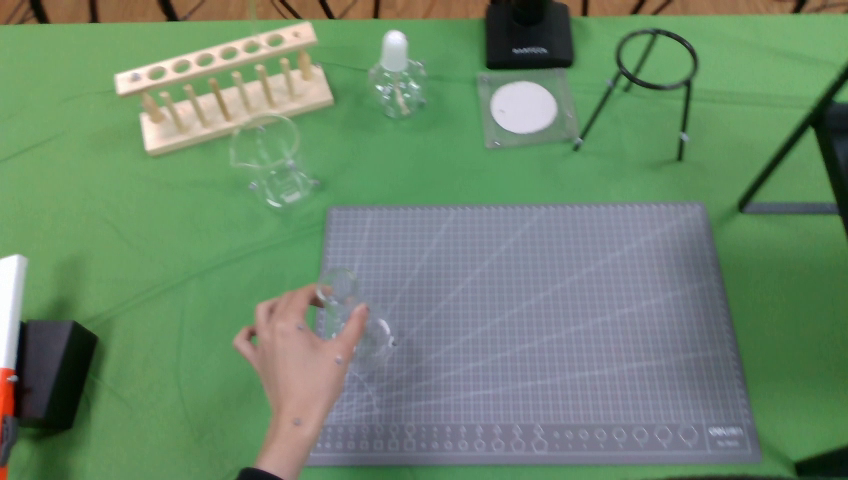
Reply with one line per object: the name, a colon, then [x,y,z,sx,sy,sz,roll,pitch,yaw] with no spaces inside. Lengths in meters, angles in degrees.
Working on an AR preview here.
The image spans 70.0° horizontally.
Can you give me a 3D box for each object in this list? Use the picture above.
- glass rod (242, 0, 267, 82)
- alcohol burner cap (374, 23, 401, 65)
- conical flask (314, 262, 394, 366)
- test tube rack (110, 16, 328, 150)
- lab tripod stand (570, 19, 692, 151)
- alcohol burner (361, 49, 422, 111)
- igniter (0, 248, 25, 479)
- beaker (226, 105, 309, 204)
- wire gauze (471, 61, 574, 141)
glass rod: [-0.207,-0.260,0.724,0.008,0.201,0.008,1,61,-2]
alcohol burner cap: [-0.043,-0.238,0.726,0.034,0.048,0.033,3,62,-6]
conical flask: [-0.073,0.067,0.580,0.075,0.123,0.074,-3,58,4]
test tube rack: [-0.253,-0.198,0.768,0.242,0.086,0.066,-19,64,-8]
lab tripod stand: [0.253,-0.179,0.716,0.148,0.132,0.147,0,62,0]
alcohol burner: [-0.042,-0.220,0.758,0.078,0.120,0.077,0,61,1]
igniter: [-0.415,0.133,0.583,0.057,0.025,0.274,-17,63,6]
beaker: [-0.179,-0.093,0.704,0.084,0.101,0.073,-39,68,-16]
wire gauze: [0.128,-0.187,0.794,0.121,0.011,0.124,-4,63,-2]
